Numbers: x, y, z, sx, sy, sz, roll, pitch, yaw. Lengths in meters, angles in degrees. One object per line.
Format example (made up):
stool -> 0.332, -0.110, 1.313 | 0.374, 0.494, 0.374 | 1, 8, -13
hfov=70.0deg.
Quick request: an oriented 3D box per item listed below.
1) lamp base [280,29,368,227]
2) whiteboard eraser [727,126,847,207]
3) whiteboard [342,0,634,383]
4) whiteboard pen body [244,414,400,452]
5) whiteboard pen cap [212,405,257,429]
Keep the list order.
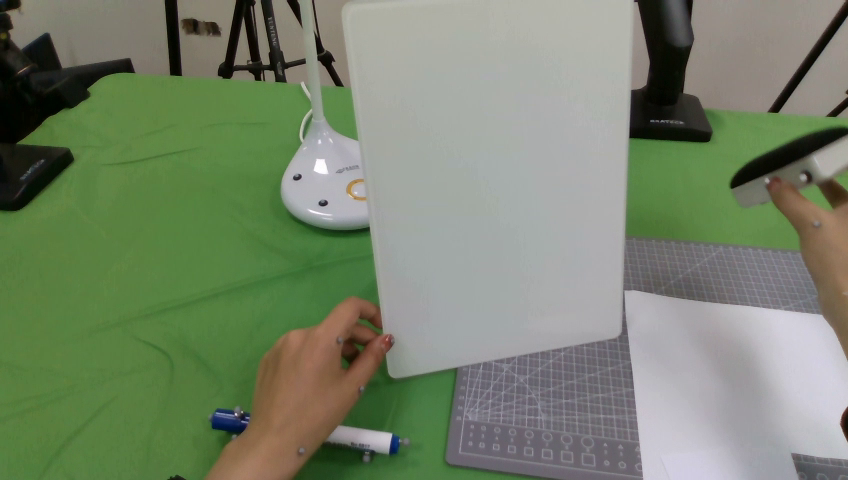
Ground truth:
lamp base -> -0.100, -0.133, 0.682 | 0.161, 0.182, 0.177 | -28, 45, -29
whiteboard eraser -> 0.313, -0.063, 0.517 | 0.055, 0.113, 0.041 | -22, 84, -7
whiteboard -> 0.050, -0.058, 0.542 | 0.217, 0.307, 0.142 | -8, 22, -8
whiteboard pen body -> -0.089, 0.148, 0.470 | 0.140, 0.017, 0.017 | 6, 41, 4
whiteboard pen cap -> -0.148, 0.139, 0.476 | 0.033, 0.018, 0.018 | 6, 41, 4
